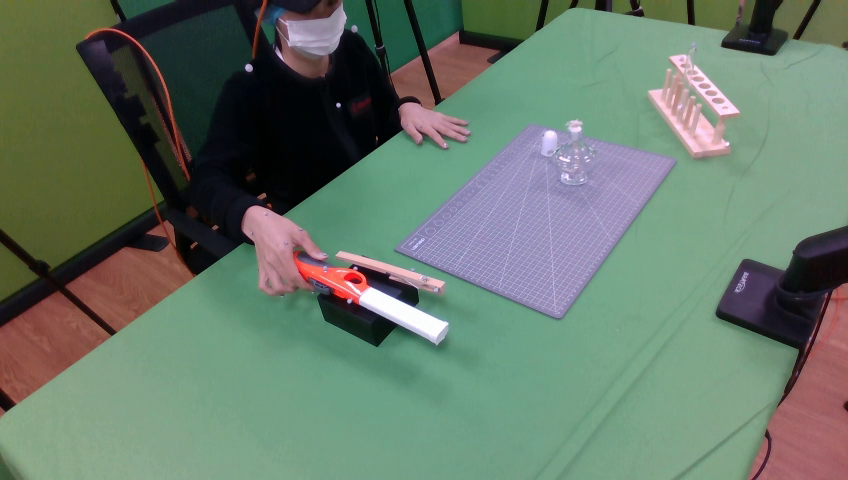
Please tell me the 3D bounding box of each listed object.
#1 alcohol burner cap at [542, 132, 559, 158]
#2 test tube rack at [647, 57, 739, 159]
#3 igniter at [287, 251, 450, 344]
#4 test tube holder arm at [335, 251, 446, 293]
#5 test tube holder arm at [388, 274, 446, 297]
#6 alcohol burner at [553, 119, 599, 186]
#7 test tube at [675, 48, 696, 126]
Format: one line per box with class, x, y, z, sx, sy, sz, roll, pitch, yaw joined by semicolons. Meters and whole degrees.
alcohol burner cap;0.237;-0.180;1.134;0.034;0.048;0.033;-5;41;5
test tube rack;0.504;-0.257;1.153;0.067;0.085;0.241;-8;40;1
igniter;-0.086;0.073;0.826;0.274;0.025;0.057;22;44;27
test tube holder arm;-0.050;0.043;0.853;0.177;0.013;0.015;17;40;24
test tube holder arm;-0.010;0.060;0.838;0.087;0.010;0.015;18;40;24
alcohol burner;0.261;-0.153;1.042;0.078;0.119;0.077;-6;40;6
test tube;0.481;-0.279;1.112;0.017;0.151;0.017;-5;40;5
